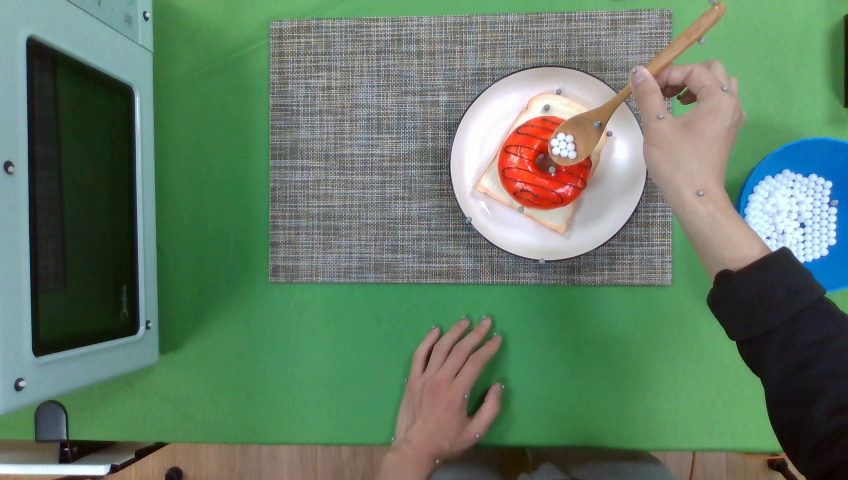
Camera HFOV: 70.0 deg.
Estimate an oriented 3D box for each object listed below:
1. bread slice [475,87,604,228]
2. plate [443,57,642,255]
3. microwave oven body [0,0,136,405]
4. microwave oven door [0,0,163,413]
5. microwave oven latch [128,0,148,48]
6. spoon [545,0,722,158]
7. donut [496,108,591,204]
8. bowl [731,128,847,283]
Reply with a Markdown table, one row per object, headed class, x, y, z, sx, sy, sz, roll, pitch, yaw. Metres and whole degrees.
| class | x | y | z | sx | sy | sz | roll | pitch | yaw |
| --- | --- | --- | --- | --- | --- | --- | --- | --- | --- |
| bread slice | 0.129 | -0.095 | 0.656 | 0.107 | 0.018 | 0.134 | 25 | 94 | 4 |
| plate | 0.125 | -0.088 | 0.654 | 0.207 | 0.039 | 0.207 | 0 | 90 | 5 |
| microwave oven body | -0.479 | -0.077 | 0.594 | 0.326 | 0.260 | 0.441 | -2 | 90 | 4 |
| microwave oven door | -0.333 | -0.040 | 0.576 | 0.039 | 0.244 | 0.355 | -3 | 89 | 5 |
| microwave oven latch | -0.329 | -0.258 | 0.678 | 0.030 | 0.029 | 0.079 | -2 | 90 | 4 |
| spoon | 0.175 | -0.135 | 0.526 | 0.041 | 0.021 | 0.194 | 56 | 138 | 9 |
| donut | 0.123 | -0.086 | 0.626 | 0.099 | 0.048 | 0.099 | 0 | 90 | 6 |
| bowl | 0.380 | -0.032 | 0.616 | 0.151 | 0.077 | 0.151 | 0 | 89 | 5 |
